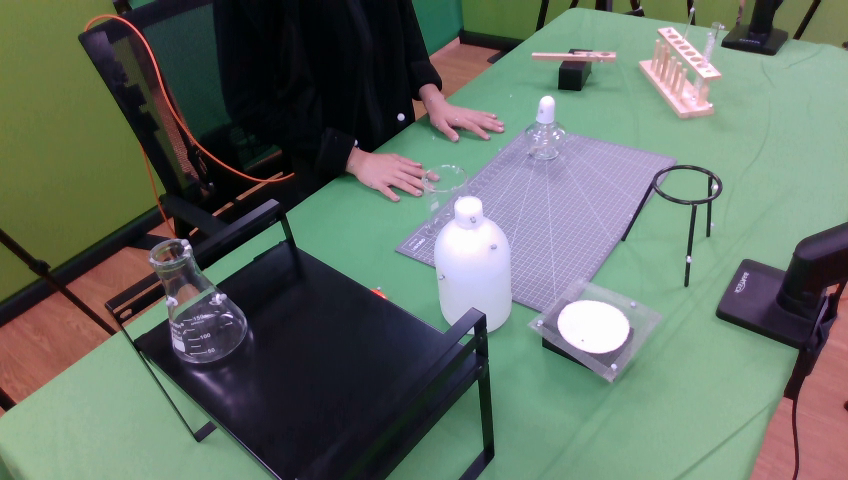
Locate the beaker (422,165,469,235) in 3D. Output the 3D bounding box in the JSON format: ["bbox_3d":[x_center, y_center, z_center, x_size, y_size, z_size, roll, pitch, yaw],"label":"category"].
[{"bbox_3d":[0.041,-0.063,0.986,0.073,0.101,0.084,20,47,29],"label":"beaker"}]

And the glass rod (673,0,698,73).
[{"bbox_3d":[0.537,-0.425,1.244,0.008,0.200,0.008,0,47,0],"label":"glass rod"}]

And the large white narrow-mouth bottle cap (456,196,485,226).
[{"bbox_3d":[0.057,-0.036,0.749,0.038,0.024,0.037,-4,40,4],"label":"large white narrow-mouth bottle cap"}]

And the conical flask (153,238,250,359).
[{"bbox_3d":[-0.225,0.055,0.597,0.075,0.122,0.075,-5,41,4],"label":"conical flask"}]

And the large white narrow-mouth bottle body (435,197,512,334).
[{"bbox_3d":[0.066,0.028,0.805,0.102,0.195,0.101,-4,40,4],"label":"large white narrow-mouth bottle body"}]

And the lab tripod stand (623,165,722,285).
[{"bbox_3d":[0.365,-0.030,0.875,0.148,0.132,0.147,-6,41,6],"label":"lab tripod stand"}]

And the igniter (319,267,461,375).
[{"bbox_3d":[-0.060,0.108,0.862,0.274,0.025,0.057,29,62,35],"label":"igniter"}]

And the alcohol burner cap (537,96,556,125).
[{"bbox_3d":[0.223,-0.237,1.095,0.034,0.048,0.033,0,42,1],"label":"alcohol burner cap"}]

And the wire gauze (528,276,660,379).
[{"bbox_3d":[0.214,0.103,0.763,0.124,0.011,0.122,30,52,35],"label":"wire gauze"}]

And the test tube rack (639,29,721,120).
[{"bbox_3d":[0.527,-0.351,1.262,0.067,0.085,0.241,-8,40,1],"label":"test tube rack"}]

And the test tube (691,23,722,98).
[{"bbox_3d":[0.547,-0.345,1.173,0.017,0.151,0.017,0,42,0],"label":"test tube"}]

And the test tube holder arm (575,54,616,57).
[{"bbox_3d":[0.373,-0.398,1.318,0.087,0.015,0.010,5,51,16],"label":"test tube holder arm"}]

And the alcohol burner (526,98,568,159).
[{"bbox_3d":[0.228,-0.210,1.118,0.078,0.119,0.077,-5,43,5],"label":"alcohol burner"}]

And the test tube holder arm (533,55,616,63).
[{"bbox_3d":[0.329,-0.398,1.327,0.178,0.015,0.013,5,51,15],"label":"test tube holder arm"}]
